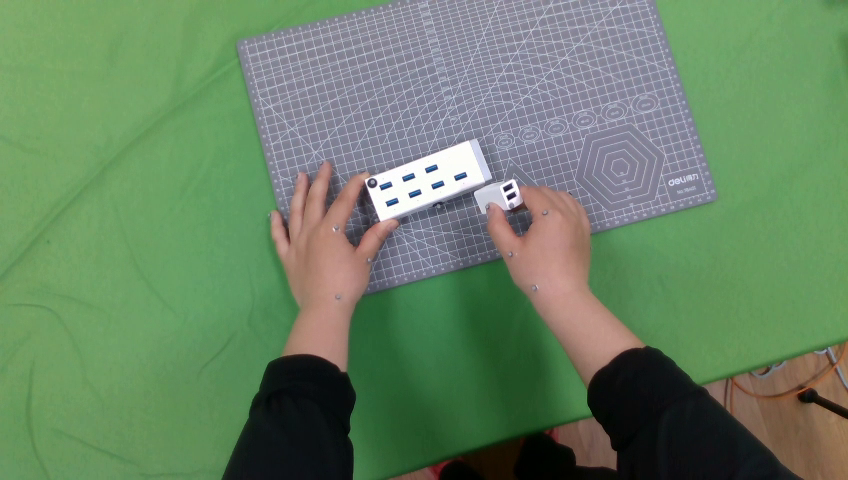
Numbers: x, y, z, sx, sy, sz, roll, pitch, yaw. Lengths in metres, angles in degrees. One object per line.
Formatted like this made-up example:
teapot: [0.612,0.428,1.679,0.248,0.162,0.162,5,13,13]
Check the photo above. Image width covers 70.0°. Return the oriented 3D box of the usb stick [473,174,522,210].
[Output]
usb stick: [0.067,-0.046,0.590,0.021,0.059,0.027,-32,99,-26]

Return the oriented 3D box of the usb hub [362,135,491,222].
usb hub: [0.002,-0.064,0.627,0.125,0.025,0.049,-21,84,-3]
